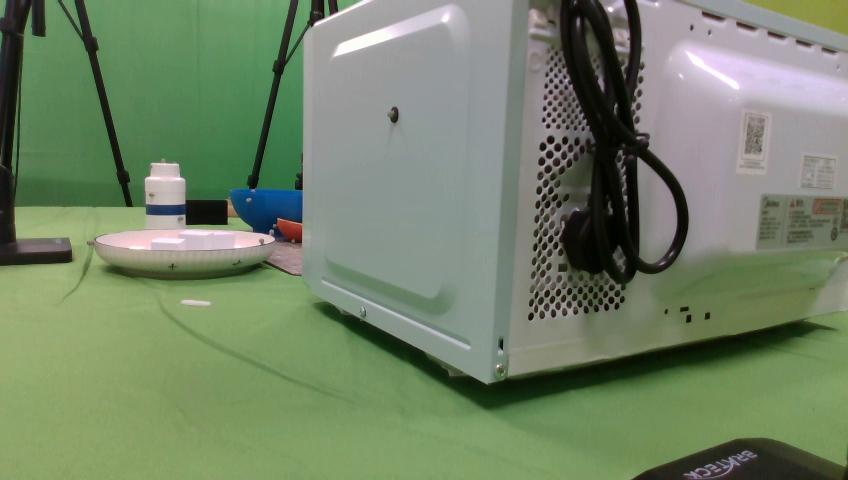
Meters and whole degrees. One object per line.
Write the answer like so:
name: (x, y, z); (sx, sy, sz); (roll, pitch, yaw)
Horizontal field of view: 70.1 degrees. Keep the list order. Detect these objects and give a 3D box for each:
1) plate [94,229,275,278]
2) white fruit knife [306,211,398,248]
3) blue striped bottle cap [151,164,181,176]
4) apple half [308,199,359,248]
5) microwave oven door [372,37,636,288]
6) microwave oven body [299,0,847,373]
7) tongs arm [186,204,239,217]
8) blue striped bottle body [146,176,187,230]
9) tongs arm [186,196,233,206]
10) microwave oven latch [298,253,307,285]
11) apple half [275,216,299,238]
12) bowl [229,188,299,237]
plate: (-0.291, 0.016, 0.750); (0.208, 0.039, 0.207); (2, 7, 0)
white fruit knife: (-0.116, -0.018, 1.009); (0.016, 0.027, 0.208); (6, 18, 39)
blue striped bottle cap: (-0.428, -0.116, 1.002); (0.044, 0.020, 0.044); (1, 6, 0)
apple half: (-0.133, -0.023, 0.940); (0.053, 0.074, 0.081); (21, 14, 37)
microwave oven door: (0.110, -0.080, 0.686); (0.358, 0.243, 0.039); (-2, 9, -33)
microwave oven body: (0.151, -0.055, 0.542); (0.444, 0.260, 0.324); (-2, 7, -33)
tongs arm: (-0.396, -0.066, 1.399); (0.389, 0.028, 0.028); (1, 5, -15)
blue striped bottle body: (-0.430, -0.065, 1.010); (0.063, 0.120, 0.063); (2, 7, 0)
tongs arm: (-0.404, -0.081, 1.479); (0.385, 0.026, 0.050); (3, 8, -2)
microwave oven latch: (-0.081, 0.027, 0.582); (0.079, 0.029, 0.030); (-1, 7, -32)
apple half: (-0.201, -0.018, 0.982); (0.081, 0.033, 0.081); (9, 7, -1)
bowl: (-0.265, -0.048, 1.066); (0.151, 0.077, 0.151); (3, 8, 0)
